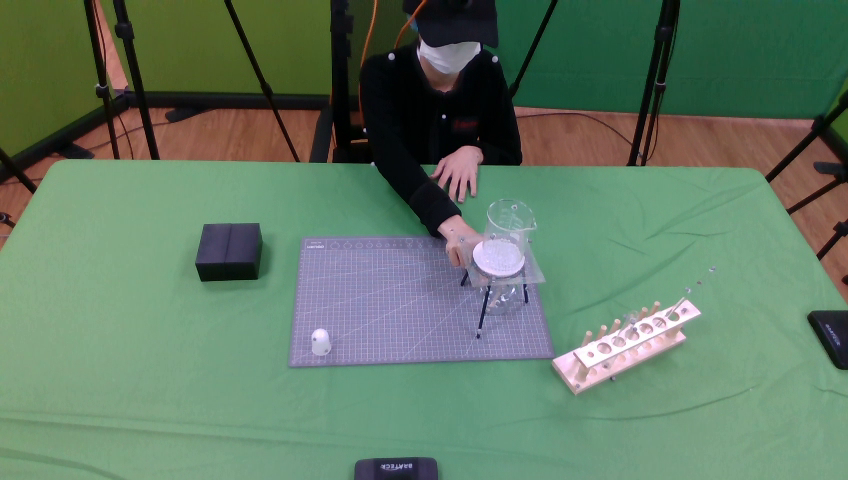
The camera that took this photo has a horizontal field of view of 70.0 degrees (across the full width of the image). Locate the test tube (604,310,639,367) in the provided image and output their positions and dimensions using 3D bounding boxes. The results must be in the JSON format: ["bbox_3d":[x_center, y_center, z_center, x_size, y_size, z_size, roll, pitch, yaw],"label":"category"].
[{"bbox_3d":[0.310,0.158,0.957,0.017,0.151,0.017,1,49,-1],"label":"test tube"}]

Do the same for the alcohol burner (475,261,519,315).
[{"bbox_3d":[0.131,0.078,1.066,0.078,0.119,0.077,2,47,-2],"label":"alcohol burner"}]

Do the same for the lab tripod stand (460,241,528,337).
[{"bbox_3d":[0.122,0.075,1.054,0.148,0.132,0.147,3,44,-2],"label":"lab tripod stand"}]

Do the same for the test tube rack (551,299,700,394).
[{"bbox_3d":[0.339,0.166,1.021,0.242,0.085,0.066,-19,50,-21],"label":"test tube rack"}]

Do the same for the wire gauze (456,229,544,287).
[{"bbox_3d":[0.125,0.030,1.008,0.125,0.011,0.120,-3,48,-11],"label":"wire gauze"}]

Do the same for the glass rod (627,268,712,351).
[{"bbox_3d":[0.399,0.117,0.995,0.008,0.200,0.008,26,29,-16],"label":"glass rod"}]

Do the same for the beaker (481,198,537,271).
[{"bbox_3d":[0.134,-0.005,0.974,0.084,0.101,0.074,23,49,16],"label":"beaker"}]

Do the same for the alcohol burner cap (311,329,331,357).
[{"bbox_3d":[-0.173,0.168,1.005,0.034,0.048,0.033,2,46,-2],"label":"alcohol burner cap"}]
